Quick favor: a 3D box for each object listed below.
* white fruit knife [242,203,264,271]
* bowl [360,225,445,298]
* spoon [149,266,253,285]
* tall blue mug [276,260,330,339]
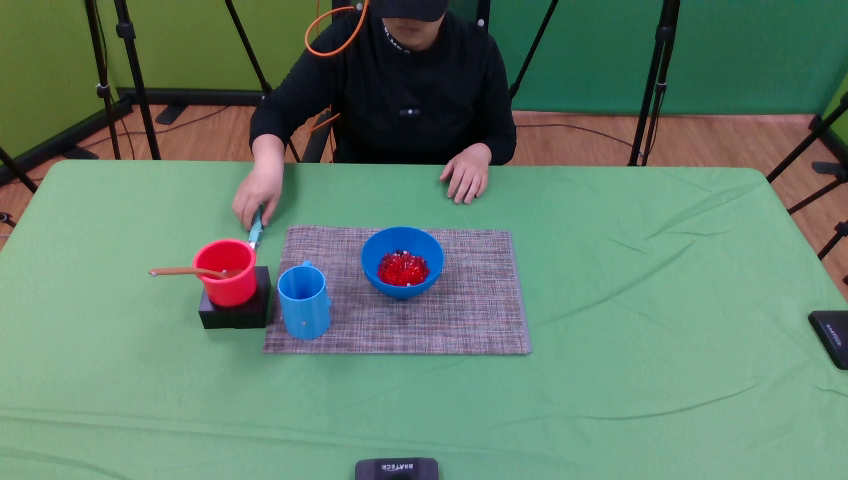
[{"bbox_3d":[-0.334,0.001,1.179,0.027,0.016,0.206,-18,46,16],"label":"white fruit knife"},{"bbox_3d":[-0.040,0.053,1.099,0.151,0.077,0.150,2,46,-2],"label":"bowl"},{"bbox_3d":[-0.351,0.052,0.968,0.041,0.021,0.194,41,12,28],"label":"spoon"},{"bbox_3d":[-0.208,0.094,1.025,0.078,0.108,0.106,-21,51,-21],"label":"tall blue mug"}]
